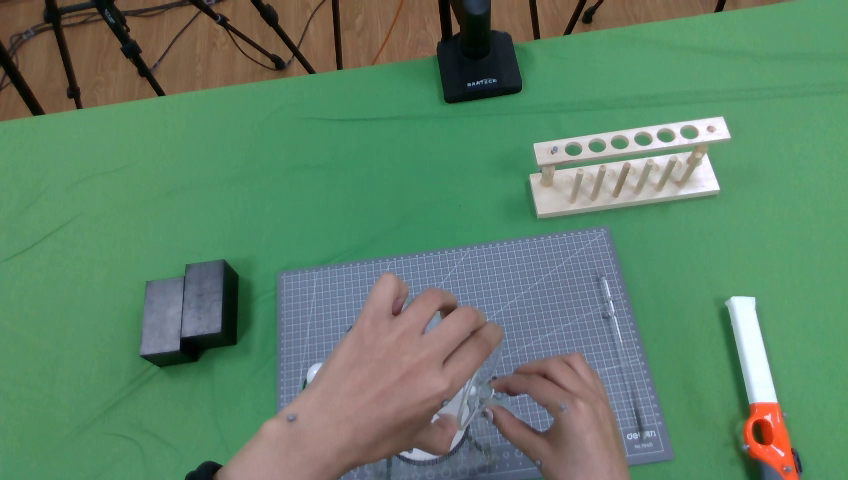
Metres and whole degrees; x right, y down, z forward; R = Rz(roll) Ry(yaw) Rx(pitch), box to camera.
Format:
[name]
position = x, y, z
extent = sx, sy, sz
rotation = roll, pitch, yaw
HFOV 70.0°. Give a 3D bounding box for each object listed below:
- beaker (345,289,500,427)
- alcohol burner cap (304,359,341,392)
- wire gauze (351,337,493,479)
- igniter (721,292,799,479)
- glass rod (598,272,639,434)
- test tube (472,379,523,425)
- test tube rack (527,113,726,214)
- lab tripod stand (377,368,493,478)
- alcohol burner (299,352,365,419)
[beaker]
position = -0.002, 0.087, 0.465
extent = 0.100, 0.084, 0.074
rotation = 23, 77, 18
[alcohol burner cap]
position = -0.111, 0.145, 0.656
extent = 0.034, 0.048, 0.033
rotation = -3, 68, 9
[wire gauze]
position = -0.005, 0.162, 0.592
extent = 0.125, 0.011, 0.120
rotation = -11, 62, 0
[igniter]
position = 0.378, 0.189, 0.681
extent = 0.057, 0.025, 0.274
rotation = 3, 64, -4
[glass rod]
position = 0.234, 0.131, 0.730
extent = 0.008, 0.008, 0.198
rotation = -7, 66, 2
[test tube]
position = 0.069, 0.149, 0.550
extent = 0.017, 0.152, 0.017
rotation = -8, 62, 17
[test tube rack]
position = 0.264, -0.098, 0.800
extent = 0.242, 0.086, 0.066
rotation = -8, 63, 2
[lab tripod stand]
position = 0.002, 0.195, 0.651
extent = 0.148, 0.132, 0.147
rotation = -3, 63, 6
[alcohol burner]
position = -0.108, 0.160, 0.689
extent = 0.078, 0.120, 0.077
rotation = -2, 62, 5
